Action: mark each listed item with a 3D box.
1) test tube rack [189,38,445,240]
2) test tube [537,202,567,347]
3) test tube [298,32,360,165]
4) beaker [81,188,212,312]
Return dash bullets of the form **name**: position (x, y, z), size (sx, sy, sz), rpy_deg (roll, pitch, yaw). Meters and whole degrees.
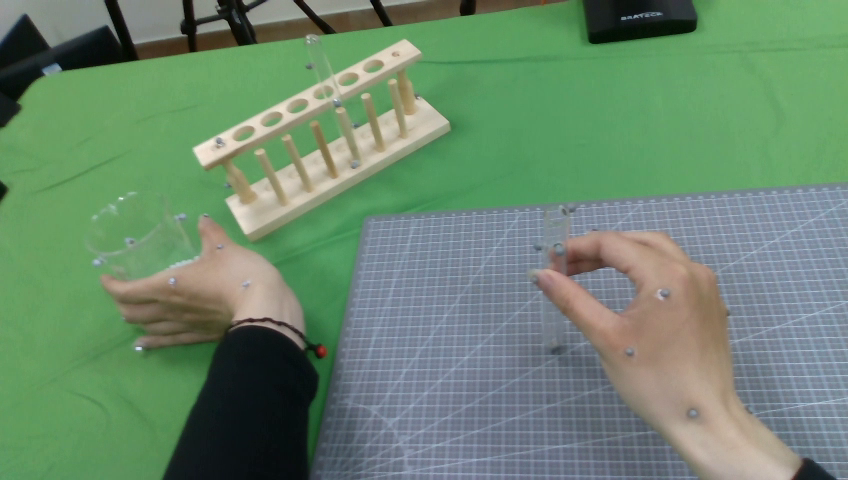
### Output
- **test tube rack**: position (-0.102, -0.106, 0.621), size (0.242, 0.086, 0.066), rpy_deg (-31, 51, -12)
- **test tube**: position (0.085, 0.030, 0.407), size (0.017, 0.152, 0.017), rpy_deg (-5, 50, 6)
- **test tube**: position (-0.088, -0.130, 0.579), size (0.017, 0.152, 0.017), rpy_deg (-7, 49, 9)
- **beaker**: position (-0.248, 0.012, 0.552), size (0.083, 0.101, 0.074), rpy_deg (32, 64, 34)
